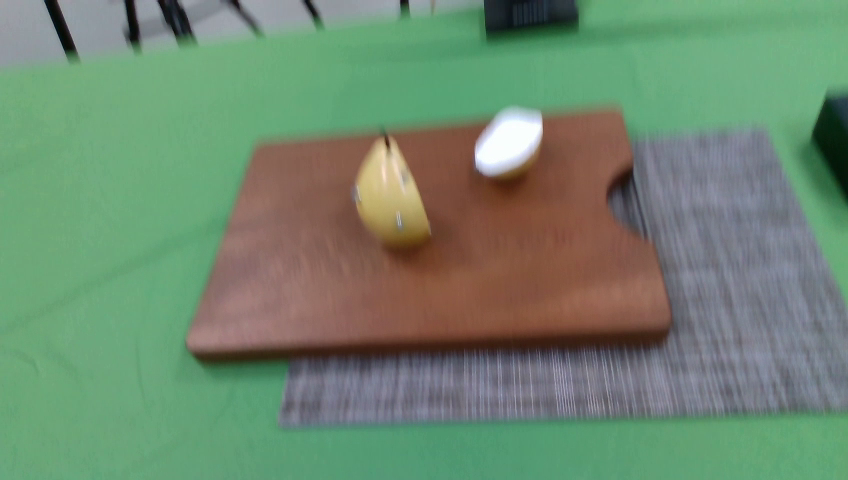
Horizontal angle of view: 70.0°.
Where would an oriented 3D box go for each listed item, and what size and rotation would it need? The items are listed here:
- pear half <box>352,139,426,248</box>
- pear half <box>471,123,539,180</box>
[{"bbox_3d":[-0.038,-0.040,0.526,0.056,0.111,0.075,-27,45,-12],"label":"pear half"},{"bbox_3d":[0.082,-0.082,0.590,0.070,0.031,0.087,-16,31,19],"label":"pear half"}]
